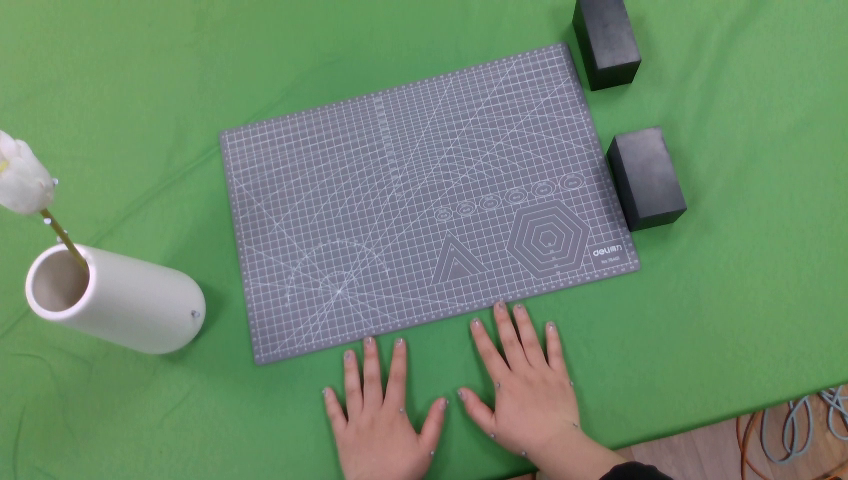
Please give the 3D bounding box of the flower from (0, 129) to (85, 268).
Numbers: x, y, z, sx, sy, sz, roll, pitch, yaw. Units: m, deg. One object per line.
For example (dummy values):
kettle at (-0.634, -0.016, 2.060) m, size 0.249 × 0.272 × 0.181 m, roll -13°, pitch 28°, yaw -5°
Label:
flower at (-0.302, 0.027, 0.547) m, size 0.038 × 0.364 × 0.043 m, roll -26°, pitch 68°, yaw -20°

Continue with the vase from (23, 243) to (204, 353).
vase at (-0.307, 0.061, 0.623) m, size 0.098 × 0.201 × 0.097 m, roll -1°, pitch 74°, yaw 4°
